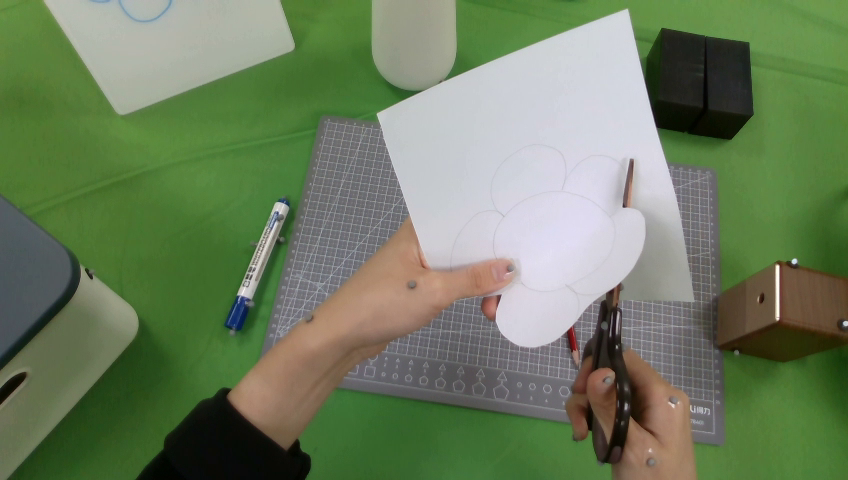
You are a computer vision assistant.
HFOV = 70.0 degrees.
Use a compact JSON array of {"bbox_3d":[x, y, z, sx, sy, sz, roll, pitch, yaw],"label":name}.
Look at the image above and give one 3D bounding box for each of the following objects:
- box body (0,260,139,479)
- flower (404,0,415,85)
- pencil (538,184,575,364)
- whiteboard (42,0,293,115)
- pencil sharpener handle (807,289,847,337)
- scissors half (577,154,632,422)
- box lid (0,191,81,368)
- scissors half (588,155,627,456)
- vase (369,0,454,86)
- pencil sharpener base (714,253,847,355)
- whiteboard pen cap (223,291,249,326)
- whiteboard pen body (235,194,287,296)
[{"bbox_3d":[-0.474,0.046,0.522,0.362,0.161,0.253,34,72,11],"label":"box body"},{"bbox_3d":[-0.018,-0.297,0.561,0.044,0.365,0.038,1,51,3],"label":"flower"},{"bbox_3d":[0.138,0.031,0.626,0.012,0.012,0.192,-5,71,-3],"label":"pencil"},{"bbox_3d":[-0.301,-0.327,0.629,0.217,0.308,0.142,-25,52,-10],"label":"whiteboard"},{"bbox_3d":[0.384,0.071,0.555,0.030,0.068,0.035,12,62,0],"label":"pencil sharpener handle"},{"bbox_3d":[0.111,0.034,0.372,0.013,0.040,0.176,5,112,4],"label":"scissors half"},{"bbox_3d":[-0.474,0.017,0.453,0.370,0.015,0.262,34,71,11],"label":"box lid"},{"bbox_3d":[0.110,0.037,0.350,0.013,0.040,0.175,5,85,-1],"label":"scissors half"},{"bbox_3d":[-0.015,-0.253,0.633,0.098,0.201,0.097,0,67,0],"label":"vase"},{"bbox_3d":[0.333,0.064,0.567,0.077,0.107,0.061,12,68,0],"label":"pencil sharpener base"},{"bbox_3d":[-0.184,0.067,0.597,0.018,0.018,0.033,14,65,4],"label":"whiteboard pen cap"},{"bbox_3d":[-0.170,0.015,0.620,0.017,0.017,0.140,14,67,5],"label":"whiteboard pen body"}]
